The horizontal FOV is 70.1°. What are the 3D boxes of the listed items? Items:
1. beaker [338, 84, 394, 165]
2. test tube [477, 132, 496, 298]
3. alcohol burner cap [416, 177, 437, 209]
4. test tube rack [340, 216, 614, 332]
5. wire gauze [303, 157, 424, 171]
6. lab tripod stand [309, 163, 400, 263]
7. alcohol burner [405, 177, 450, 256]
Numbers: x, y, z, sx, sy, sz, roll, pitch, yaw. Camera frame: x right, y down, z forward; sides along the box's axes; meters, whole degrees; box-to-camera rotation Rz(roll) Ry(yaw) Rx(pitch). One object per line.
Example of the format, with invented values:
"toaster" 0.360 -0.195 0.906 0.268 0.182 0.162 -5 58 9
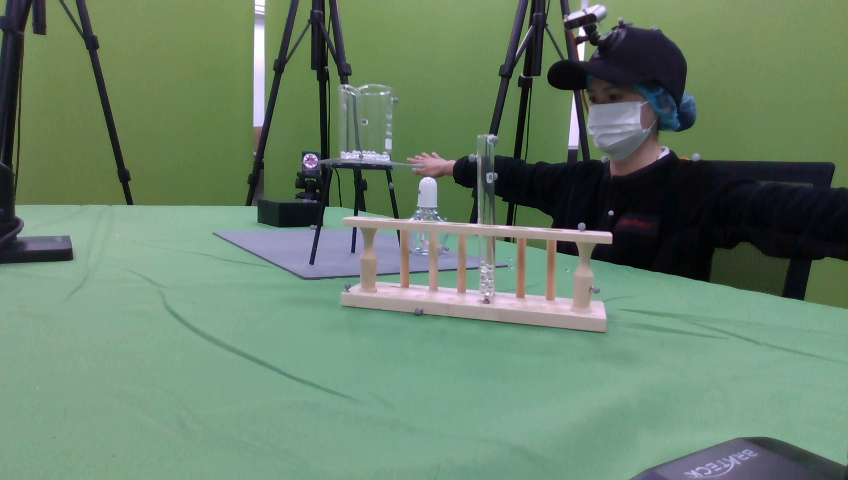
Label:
"beaker" -0.077 -0.149 0.792 0.074 0.100 0.084 2 6 9
"test tube" 0.056 -0.020 0.540 0.017 0.150 0.017 -1 11 1
"alcohol burner cap" 0.005 -0.072 0.914 0.034 0.048 0.034 4 10 0
"test tube rack" 0.048 0.026 0.568 0.242 0.085 0.067 4 7 13
"wire gauze" -0.082 -0.101 0.799 0.126 0.011 0.121 1 7 -30
"lab tripod stand" -0.091 -0.037 0.813 0.148 0.131 0.148 1 6 0
"alcohol burner" 0.004 -0.036 0.917 0.078 0.119 0.078 3 6 0
